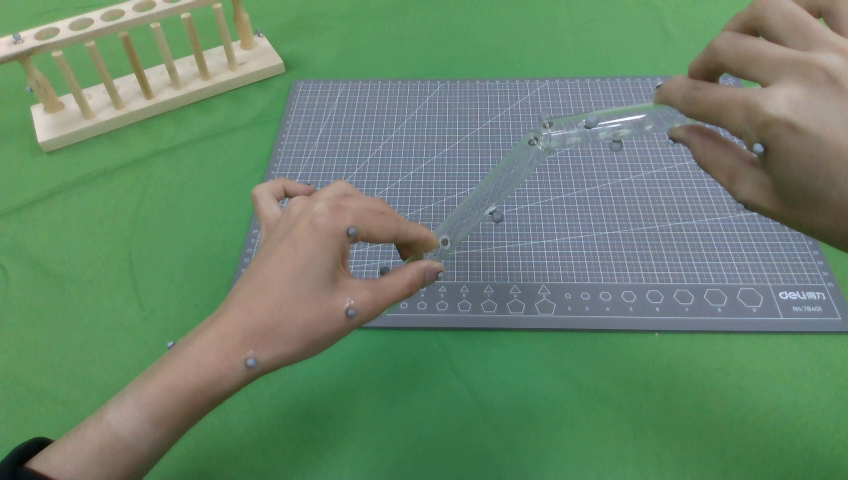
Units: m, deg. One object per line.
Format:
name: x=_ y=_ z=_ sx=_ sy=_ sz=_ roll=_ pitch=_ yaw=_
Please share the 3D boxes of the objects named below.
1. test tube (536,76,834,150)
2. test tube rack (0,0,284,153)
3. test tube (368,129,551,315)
test tube: x=0.129 y=-0.063 z=0.298 sx=0.150 sy=0.017 sz=0.017 roll=-9 pitch=50 yaw=-4
test tube rack: x=-0.270 y=-0.178 z=0.593 sx=0.242 sy=0.086 sz=0.066 roll=-24 pitch=53 yaw=-17
test tube: x=0.013 y=-0.004 z=0.332 sx=0.017 sy=0.151 sz=0.017 roll=29 pitch=35 yaw=-22
